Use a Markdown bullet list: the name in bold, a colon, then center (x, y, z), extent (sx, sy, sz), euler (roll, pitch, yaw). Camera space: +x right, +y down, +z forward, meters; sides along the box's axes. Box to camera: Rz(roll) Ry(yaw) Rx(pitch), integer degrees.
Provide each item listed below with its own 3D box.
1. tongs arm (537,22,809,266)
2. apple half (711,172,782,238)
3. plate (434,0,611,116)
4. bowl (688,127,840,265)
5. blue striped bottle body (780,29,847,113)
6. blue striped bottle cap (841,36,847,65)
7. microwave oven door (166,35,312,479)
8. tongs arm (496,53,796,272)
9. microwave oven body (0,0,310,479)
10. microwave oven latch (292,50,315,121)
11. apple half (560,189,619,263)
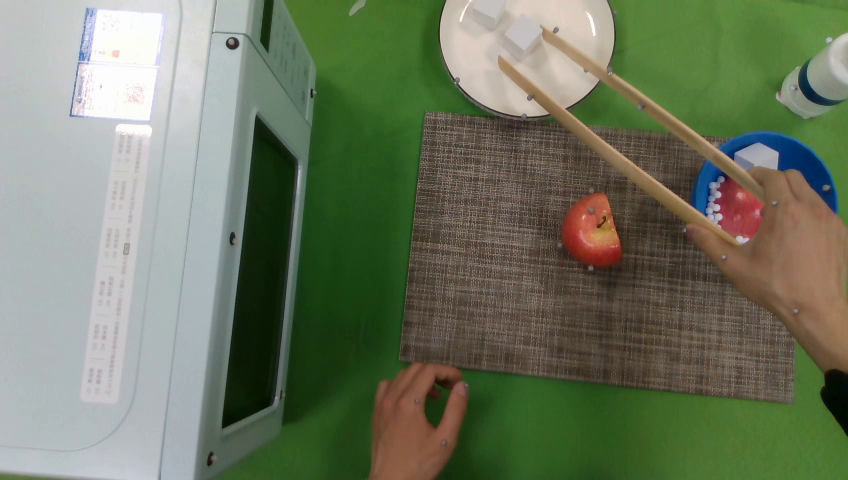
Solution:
- **tongs arm**: center (0.228, -0.117, 0.620), extent (0.051, 0.027, 0.380), euler (-39, 58, -5)
- **apple half**: center (0.361, -0.041, 0.668), extent (0.081, 0.033, 0.081), euler (0, 83, 2)
- **plate**: center (0.116, -0.246, 0.727), extent (0.208, 0.039, 0.207), euler (0, 84, 1)
- **bowl**: center (0.360, -0.041, 0.673), extent (0.151, 0.077, 0.151), euler (0, 83, 2)
- **blue striped bottle body**: center (0.456, -0.189, 0.669), extent (0.063, 0.121, 0.063), euler (0, 83, 2)
- **blue striped bottle cap**: center (0.454, -0.197, 0.619), extent (0.044, 0.020, 0.044), euler (0, 86, 2)
- **microwave oven door**: center (-0.166, 0.023, 0.583), extent (0.039, 0.244, 0.355), euler (4, 83, 3)
- **tongs arm**: center (0.198, -0.094, 0.619), extent (0.028, 0.028, 0.383), euler (-37, 58, -8)
- **microwave oven body**: center (-0.309, -0.028, 0.597), extent (0.326, 0.261, 0.440), euler (4, 84, 1)
- **microwave oven latch**: center (-0.145, -0.180, 0.707), extent (0.030, 0.029, 0.079), euler (4, 84, 2)
- **apple half**: center (0.180, -0.012, 0.677), extent (0.053, 0.075, 0.080), euler (-14, 87, 4)
